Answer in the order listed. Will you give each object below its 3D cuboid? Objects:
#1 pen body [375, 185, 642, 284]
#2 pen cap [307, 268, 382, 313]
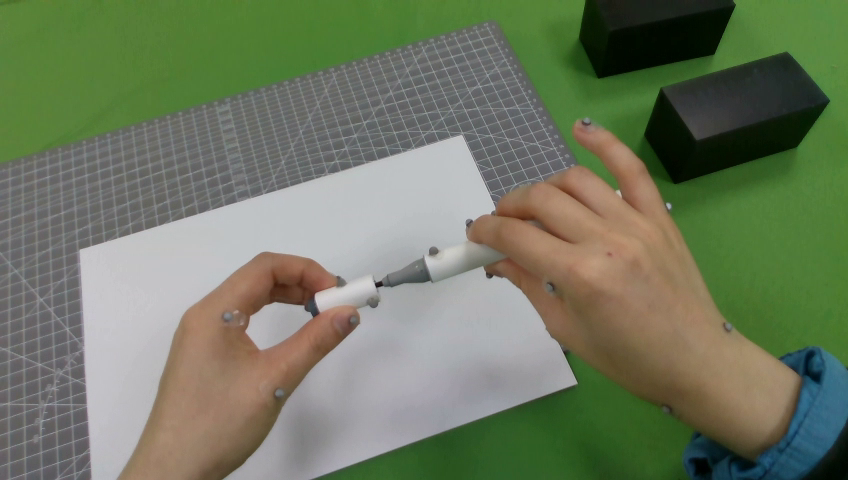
[{"bbox_3d":[0.043,0.000,0.317,0.144,0.017,0.016,-18,61,2],"label":"pen body"},{"bbox_3d":[-0.042,0.028,0.319,0.038,0.017,0.017,-17,60,10],"label":"pen cap"}]
